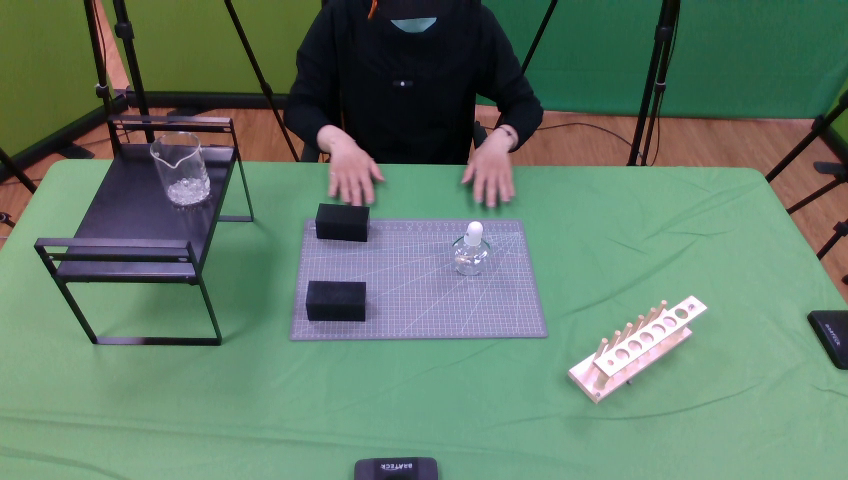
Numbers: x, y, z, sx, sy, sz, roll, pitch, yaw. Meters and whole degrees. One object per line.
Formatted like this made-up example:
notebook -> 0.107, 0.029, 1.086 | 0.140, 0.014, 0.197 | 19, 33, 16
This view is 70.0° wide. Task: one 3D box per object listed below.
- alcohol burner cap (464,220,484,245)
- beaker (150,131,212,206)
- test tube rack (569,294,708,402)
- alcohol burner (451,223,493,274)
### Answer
alcohol burner cap -> 0.092, -0.016, 1.098 | 0.034, 0.048, 0.033 | 5, 50, -6
beaker -> -0.385, -0.110, 0.969 | 0.074, 0.101, 0.083 | -6, 48, -9
test tube rack -> 0.360, 0.167, 1.015 | 0.242, 0.085, 0.066 | -25, 53, -25
alcohol burner -> 0.091, 0.008, 1.124 | 0.078, 0.119, 0.077 | 2, 48, -2
